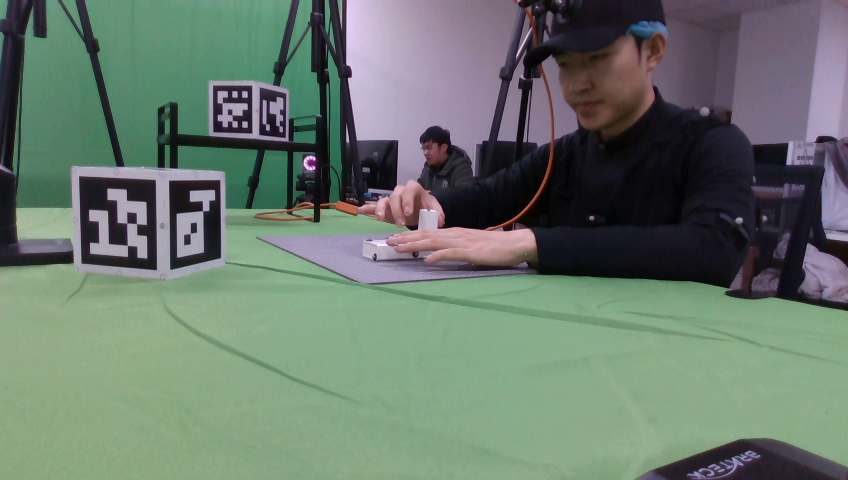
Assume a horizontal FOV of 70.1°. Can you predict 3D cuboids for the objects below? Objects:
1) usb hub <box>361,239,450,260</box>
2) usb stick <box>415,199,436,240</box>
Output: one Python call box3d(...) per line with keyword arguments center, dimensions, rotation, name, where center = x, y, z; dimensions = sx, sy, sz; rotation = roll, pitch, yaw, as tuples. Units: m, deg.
box3d(center=(-0.026, 0.013, 0.894), dimensions=(0.126, 0.025, 0.049), rotation=(-1, 7, -31), name="usb hub")
box3d(center=(0.002, -0.031, 0.901), dimensions=(0.027, 0.059, 0.021), rotation=(5, 18, 27), name="usb stick")
